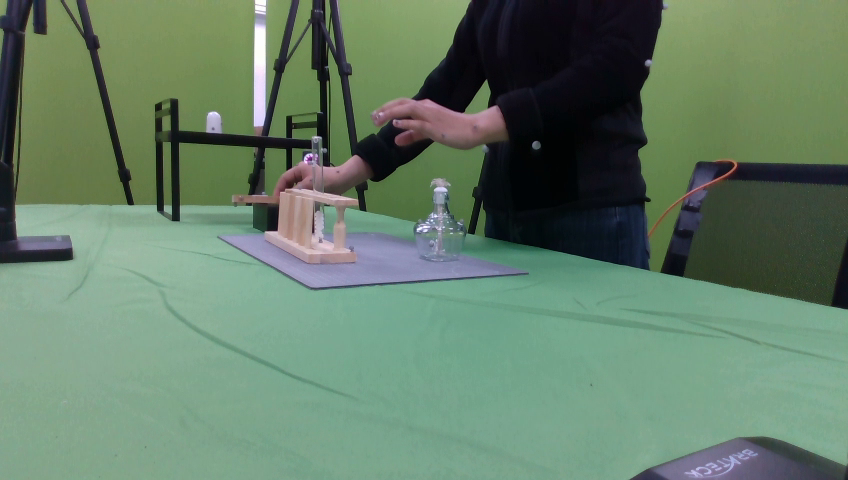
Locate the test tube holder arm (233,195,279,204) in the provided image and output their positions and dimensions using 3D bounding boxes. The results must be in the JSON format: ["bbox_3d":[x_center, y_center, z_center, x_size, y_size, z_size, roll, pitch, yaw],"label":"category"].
[{"bbox_3d":[-0.307,-0.074,1.116,0.088,0.015,0.010,-1,12,-31],"label":"test tube holder arm"}]

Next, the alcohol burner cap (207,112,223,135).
[{"bbox_3d":[-0.440,-0.245,1.271,0.034,0.048,0.034,2,7,0],"label":"alcohol burner cap"}]

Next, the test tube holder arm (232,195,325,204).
[{"bbox_3d":[-0.271,-0.076,1.145,0.179,0.015,0.013,-1,13,-33],"label":"test tube holder arm"}]

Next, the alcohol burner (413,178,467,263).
[{"bbox_3d":[0.023,-0.029,0.864,0.078,0.119,0.078,1,6,0],"label":"alcohol burner"}]

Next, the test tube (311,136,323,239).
[{"bbox_3d":[-0.155,-0.076,0.878,0.017,0.150,0.017,0,7,0],"label":"test tube"}]

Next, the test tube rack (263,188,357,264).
[{"bbox_3d":[-0.175,-0.027,0.890,0.067,0.085,0.241,0,8,-28],"label":"test tube rack"}]
